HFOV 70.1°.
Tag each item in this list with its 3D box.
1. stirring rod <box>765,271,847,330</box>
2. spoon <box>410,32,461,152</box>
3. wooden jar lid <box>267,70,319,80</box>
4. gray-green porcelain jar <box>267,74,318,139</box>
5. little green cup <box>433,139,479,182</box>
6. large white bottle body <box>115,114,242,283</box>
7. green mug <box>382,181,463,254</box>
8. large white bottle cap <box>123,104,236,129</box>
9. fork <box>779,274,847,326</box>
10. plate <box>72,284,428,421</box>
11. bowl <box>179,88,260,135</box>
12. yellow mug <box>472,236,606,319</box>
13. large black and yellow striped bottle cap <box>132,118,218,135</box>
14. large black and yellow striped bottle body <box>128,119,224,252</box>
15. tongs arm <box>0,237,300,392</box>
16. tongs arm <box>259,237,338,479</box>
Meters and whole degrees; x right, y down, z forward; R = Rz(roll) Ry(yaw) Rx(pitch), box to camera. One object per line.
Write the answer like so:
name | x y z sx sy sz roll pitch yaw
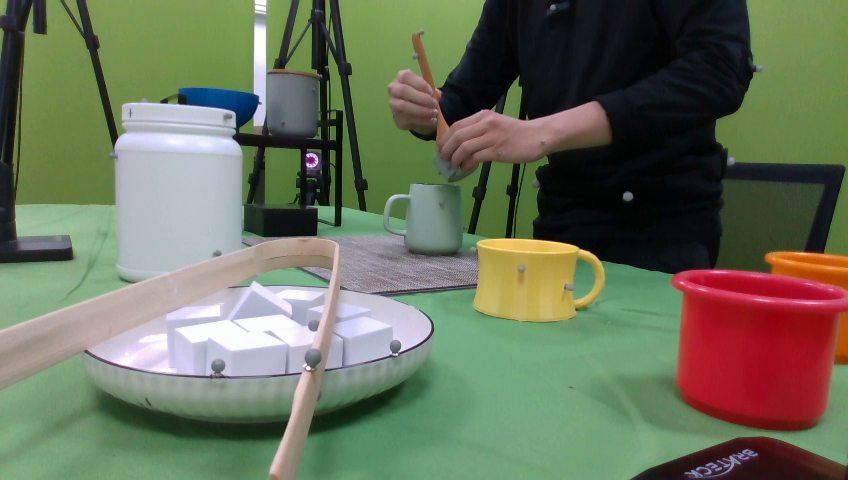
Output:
stirring rod | 0.352 0.020 0.481 0.176 0.006 0.014 -40 -8 17
spoon | 0.015 -0.191 0.838 0.041 0.194 0.021 -15 15 15
wooden jar lid | -0.275 -0.339 1.271 0.108 0.020 0.108 5 6 0
gray-green porcelain jar | -0.277 -0.279 1.280 0.106 0.126 0.106 2 7 0
little green cup | 0.047 -0.111 0.856 0.061 0.038 0.061 -22 -14 -6
large white bottle body | -0.270 -0.051 0.674 0.131 0.184 0.130 2 8 0
green mug | -0.001 -0.036 0.922 0.126 0.105 0.092 0 8 -16
large white bottle cap | -0.266 -0.135 0.663 0.115 0.018 0.115 3 7 0
fork | 0.332 0.019 0.443 0.028 0.018 0.207 -3 -35 -16
plate | -0.102 0.067 0.381 0.208 0.039 0.207 3 7 0
bowl | -0.400 -0.248 1.188 0.151 0.077 0.151 2 6 0
yellow mug | 0.114 0.034 0.590 0.131 0.064 0.100 3 6 -7
large black and yellow striped bottle cap | -0.359 -0.164 0.875 0.115 0.019 0.115 2 6 0
large black and yellow striped bottle body | -0.361 -0.081 0.887 0.131 0.184 0.130 2 8 0
tongs arm | -0.158 0.038 0.346 0.028 0.028 0.388 -3 8 11
tongs arm | -0.074 0.040 0.345 0.051 0.026 0.384 -2 9 -3
